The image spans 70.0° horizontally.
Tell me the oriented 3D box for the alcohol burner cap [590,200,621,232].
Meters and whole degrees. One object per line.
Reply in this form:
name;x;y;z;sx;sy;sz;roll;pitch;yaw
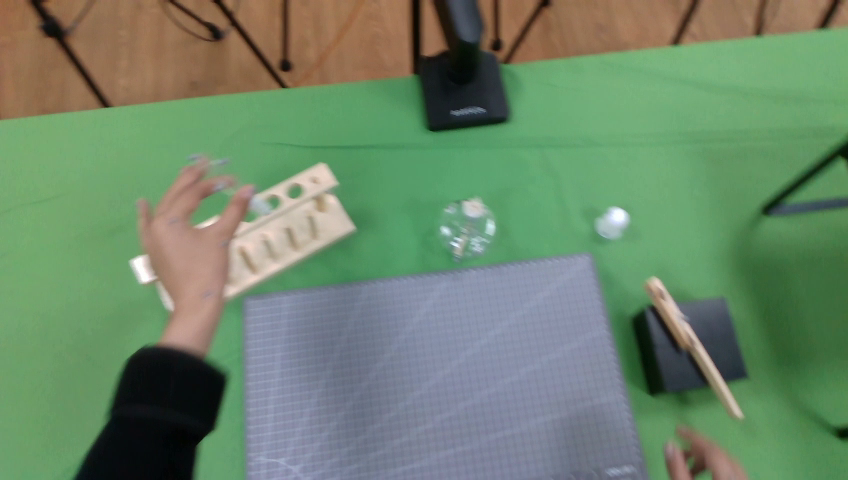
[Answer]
alcohol burner cap;0.239;-0.033;0.792;0.034;0.048;0.033;0;68;-1

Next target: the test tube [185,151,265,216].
test tube;-0.183;-0.049;0.573;0.017;0.151;0.017;-1;76;6

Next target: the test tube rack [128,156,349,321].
test tube rack;-0.216;-0.001;0.737;0.242;0.086;0.066;-31;72;-13

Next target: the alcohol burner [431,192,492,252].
alcohol burner;0.047;-0.030;0.744;0.078;0.120;0.077;1;70;-3

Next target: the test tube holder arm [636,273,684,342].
test tube holder arm;0.279;0.079;0.711;0.010;0.015;0.087;-26;73;-14

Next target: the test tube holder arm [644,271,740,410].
test tube holder arm;0.306;0.114;0.700;0.013;0.015;0.177;-27;74;-14
